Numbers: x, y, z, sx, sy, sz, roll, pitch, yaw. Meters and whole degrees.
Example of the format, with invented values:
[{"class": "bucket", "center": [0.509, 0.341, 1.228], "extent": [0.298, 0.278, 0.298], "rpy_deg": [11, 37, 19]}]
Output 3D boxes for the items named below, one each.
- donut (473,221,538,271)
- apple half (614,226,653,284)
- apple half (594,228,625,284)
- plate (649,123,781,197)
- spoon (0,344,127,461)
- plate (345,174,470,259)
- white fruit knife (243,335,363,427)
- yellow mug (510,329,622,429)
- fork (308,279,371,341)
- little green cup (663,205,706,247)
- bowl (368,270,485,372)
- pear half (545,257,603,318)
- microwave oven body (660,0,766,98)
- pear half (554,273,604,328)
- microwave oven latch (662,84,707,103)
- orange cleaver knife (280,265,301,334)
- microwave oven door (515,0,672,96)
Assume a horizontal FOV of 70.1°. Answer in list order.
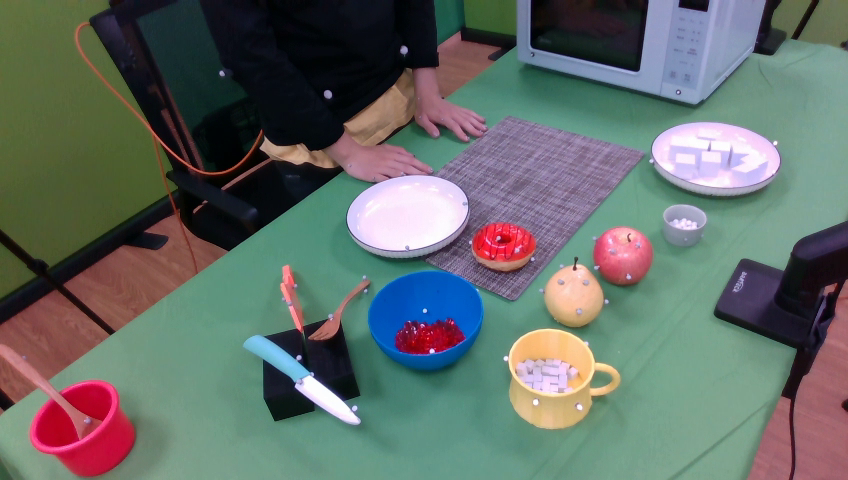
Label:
[{"class": "donut", "center": [0.123, 0.008, 0.923], "extent": [0.099, 0.048, 0.098], "rpy_deg": [-4, 38, 3]}, {"class": "apple half", "center": [0.298, 0.023, 0.864], "extent": [0.053, 0.075, 0.080], "rpy_deg": [-3, 37, 1]}, {"class": "apple half", "center": [0.259, 0.026, 0.864], "extent": [0.033, 0.081, 0.081], "rpy_deg": [-3, 40, 0]}, {"class": "plate", "center": [0.497, -0.135, 1.046], "extent": [0.207, 0.039, 0.206], "rpy_deg": [-4, 40, 4]}, {"class": "spoon", "center": [-0.433, 0.191, 0.721], "extent": [0.194, 0.021, 0.042], "rpy_deg": [47, 53, -6]}, {"class": "plate", "center": [-0.026, -0.037, 1.004], "extent": [0.209, 0.038, 0.208], "rpy_deg": [-4, 40, 4]}, {"class": "white fruit knife", "center": [-0.148, 0.167, 0.729], "extent": [0.206, 0.016, 0.027], "rpy_deg": [27, 80, 31]}, {"class": "yellow mug", "center": [0.168, 0.164, 0.722], "extent": [0.130, 0.064, 0.099], "rpy_deg": [0, 40, 8]}, {"class": "fork", "center": [-0.109, 0.093, 0.832], "extent": [0.028, 0.018, 0.207], "rpy_deg": [-3, 19, 15]}, {"class": "little green cup", "center": [0.396, -0.020, 0.926], "extent": [0.061, 0.039, 0.061], "rpy_deg": [-4, 40, 4]}, {"class": "bowl", "center": [0.007, 0.118, 0.791], "extent": [0.151, 0.077, 0.150], "rpy_deg": [-5, 40, 4]}, {"class": "pear half", "center": [0.197, 0.056, 0.811], "extent": [0.076, 0.110, 0.055], "rpy_deg": [-14, 41, -13]}, {"class": "microwave oven body", "center": [0.472, -0.513, 1.317], "extent": [0.438, 0.261, 0.327], "rpy_deg": [26, 51, 34]}, {"class": "pear half", "center": [0.208, 0.085, 0.791], "extent": [0.071, 0.088, 0.031], "rpy_deg": [-14, 39, -15]}, {"class": "microwave oven latch", "center": [0.517, -0.296, 1.204], "extent": [0.078, 0.029, 0.030], "rpy_deg": [27, 52, 35]}, {"class": "orange cleaver knife", "center": [-0.188, 0.081, 0.862], "extent": [0.012, 0.077, 0.210], "rpy_deg": [-20, 12, -9]}, {"class": "microwave oven door", "center": [0.343, -0.454, 1.259], "extent": [0.353, 0.245, 0.039], "rpy_deg": [26, 51, 33]}]
